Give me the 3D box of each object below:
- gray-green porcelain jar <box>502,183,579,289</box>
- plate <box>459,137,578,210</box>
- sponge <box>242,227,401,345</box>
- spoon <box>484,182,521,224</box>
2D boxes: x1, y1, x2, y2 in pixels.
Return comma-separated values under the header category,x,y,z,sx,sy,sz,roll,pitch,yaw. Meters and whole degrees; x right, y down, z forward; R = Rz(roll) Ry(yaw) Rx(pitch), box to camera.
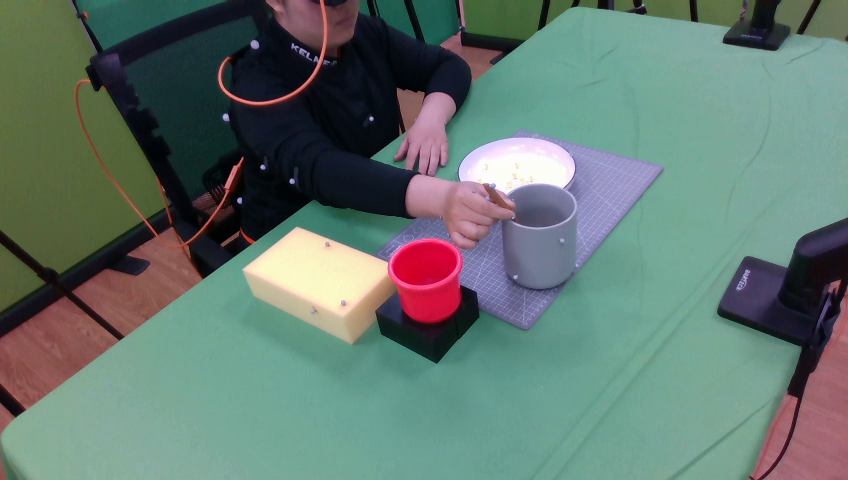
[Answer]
category,x,y,z,sx,sy,sz,roll,pitch,yaw
gray-green porcelain jar,0.167,-0.001,0.866,0.106,0.127,0.105,-5,40,5
plate,0.166,-0.113,1.069,0.207,0.039,0.206,-5,40,5
sponge,-0.153,0.063,0.907,0.205,0.061,0.118,19,48,30
spoon,0.124,-0.025,0.830,0.041,0.195,0.021,22,71,41
